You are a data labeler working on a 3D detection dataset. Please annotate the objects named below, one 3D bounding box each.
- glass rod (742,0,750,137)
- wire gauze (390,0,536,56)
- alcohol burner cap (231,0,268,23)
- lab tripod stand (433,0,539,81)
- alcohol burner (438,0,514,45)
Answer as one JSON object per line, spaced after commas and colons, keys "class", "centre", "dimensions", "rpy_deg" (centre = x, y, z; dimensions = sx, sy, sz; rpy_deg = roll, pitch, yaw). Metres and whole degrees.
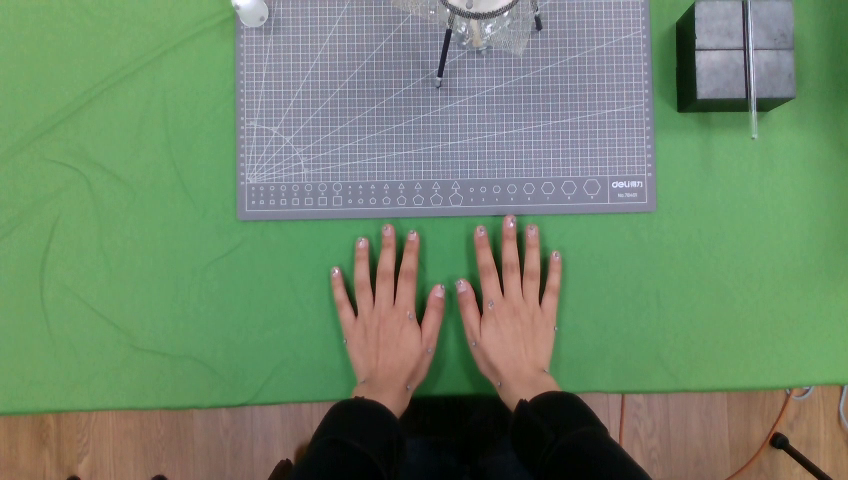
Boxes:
{"class": "glass rod", "centre": [0.323, -0.203, 0.608], "dimensions": [0.008, 0.008, 0.199], "rpy_deg": [0, 88, 1]}
{"class": "wire gauze", "centre": [0.046, -0.240, 0.528], "dimensions": [0.125, 0.011, 0.121], "rpy_deg": [21, 89, -2]}
{"class": "alcohol burner cap", "centre": [-0.187, -0.254, 0.639], "dimensions": [0.034, 0.048, 0.034], "rpy_deg": [0, 87, 2]}
{"class": "lab tripod stand", "centre": [0.051, -0.239, 0.593], "dimensions": [0.148, 0.131, 0.148], "rpy_deg": [0, 86, -1]}
{"class": "alcohol burner", "centre": [0.053, -0.241, 0.603], "dimensions": [0.078, 0.119, 0.078], "rpy_deg": [0, 88, -1]}
